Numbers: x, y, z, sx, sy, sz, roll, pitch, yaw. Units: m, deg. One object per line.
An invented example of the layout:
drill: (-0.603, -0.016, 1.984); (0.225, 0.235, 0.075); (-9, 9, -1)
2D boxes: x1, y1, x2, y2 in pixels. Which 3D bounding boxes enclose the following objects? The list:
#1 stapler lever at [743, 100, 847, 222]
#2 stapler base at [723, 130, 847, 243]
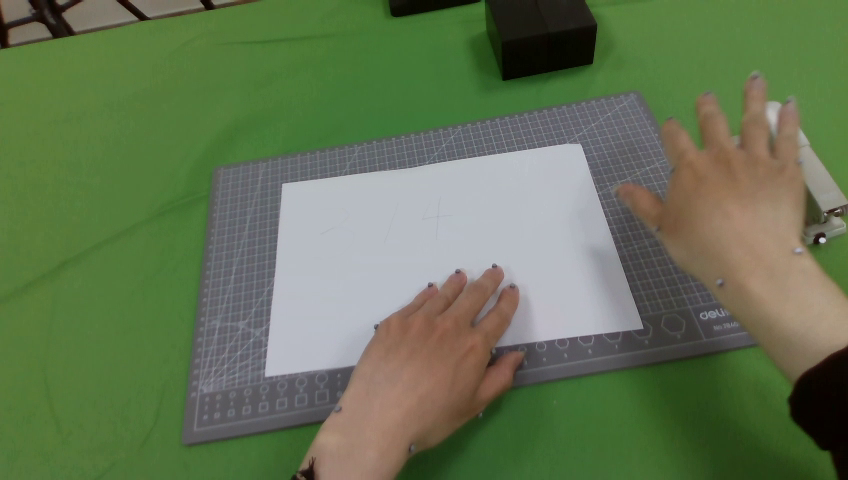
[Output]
stapler lever: (0.311, -0.070, 0.508); (0.027, 0.040, 0.117); (-19, 54, -1)
stapler base: (0.313, -0.056, 0.529); (0.041, 0.025, 0.129); (-19, 54, -2)
